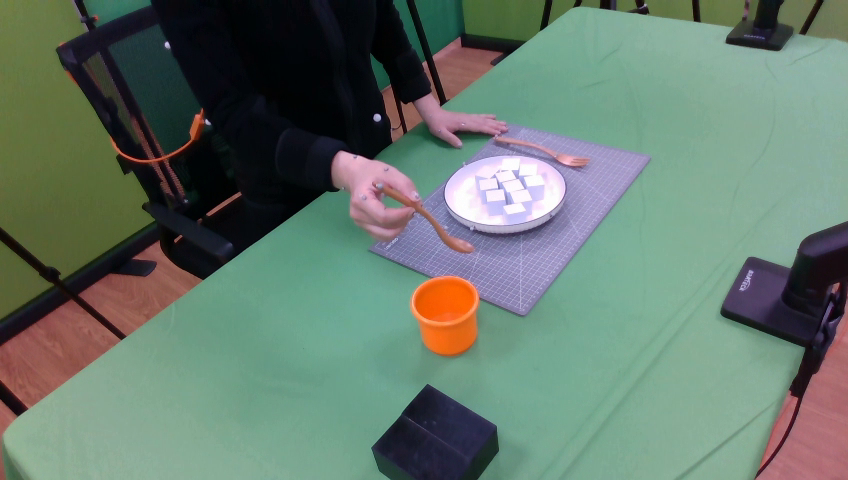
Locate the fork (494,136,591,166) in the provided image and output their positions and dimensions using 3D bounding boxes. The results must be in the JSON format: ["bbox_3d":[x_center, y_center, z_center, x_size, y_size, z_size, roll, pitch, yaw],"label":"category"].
[{"bbox_3d":[0.219,-0.171,1.144,0.205,0.019,0.028,24,56,31],"label":"fork"}]

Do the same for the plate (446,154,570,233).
[{"bbox_3d":[0.142,-0.076,1.033,0.207,0.039,0.206,-5,40,5],"label":"plate"}]

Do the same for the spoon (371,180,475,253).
[{"bbox_3d":[0.002,-0.028,0.738,0.021,0.195,0.041,-49,44,4],"label":"spoon"}]
